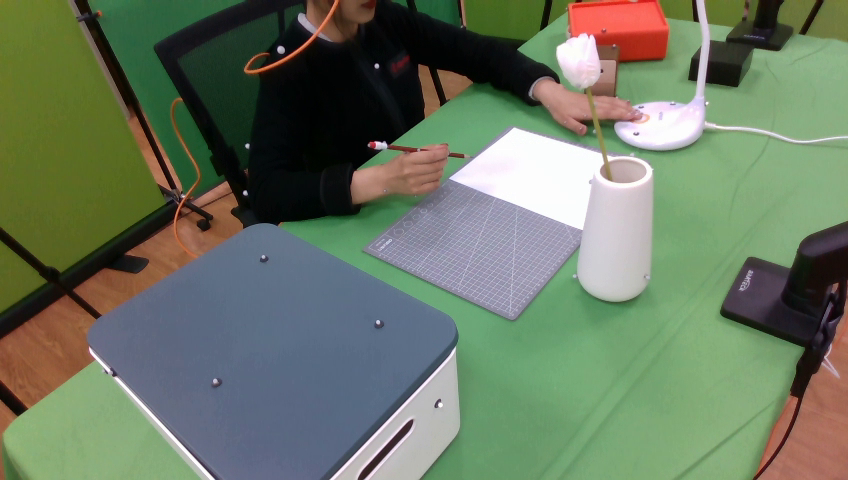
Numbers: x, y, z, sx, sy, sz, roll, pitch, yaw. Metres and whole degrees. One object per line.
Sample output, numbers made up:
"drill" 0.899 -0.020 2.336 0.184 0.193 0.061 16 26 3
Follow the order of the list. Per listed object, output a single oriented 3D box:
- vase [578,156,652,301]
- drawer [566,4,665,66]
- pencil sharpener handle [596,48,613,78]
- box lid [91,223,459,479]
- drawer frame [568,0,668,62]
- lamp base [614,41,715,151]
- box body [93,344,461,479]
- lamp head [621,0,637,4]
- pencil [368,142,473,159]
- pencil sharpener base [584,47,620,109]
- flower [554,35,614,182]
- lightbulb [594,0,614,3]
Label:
"vase" 0.261 -0.011 0.812 0.098 0.201 0.097 -4 40 4
"drawer" 0.447 -0.492 1.441 0.211 0.073 0.194 0 40 9
"pencil sharpener handle" 0.382 -0.378 1.276 0.036 0.068 0.030 4 41 21
"box lid" -0.174 0.103 0.667 0.368 0.015 0.264 24 49 35
"drawer frame" 0.450 -0.495 1.441 0.213 0.083 0.201 -1 40 9
"lamp base" 0.449 -0.277 1.106 0.179 0.181 0.160 1 41 9
"box body" -0.162 0.170 0.708 0.361 0.161 0.255 25 50 34
"lamp head" 0.319 -0.453 0.962 0.113 0.123 0.112 20 33 -13
"pencil" -0.002 -0.147 1.002 0.195 0.012 0.012 3 33 -28
"pencil sharpener base" 0.367 -0.336 1.249 0.061 0.107 0.076 6 42 19
"flower" 0.237 -0.083 0.774 0.044 0.363 0.038 -22 26 7
"lightbulb" 0.305 -0.437 0.977 0.060 0.107 0.059 12 44 -11
